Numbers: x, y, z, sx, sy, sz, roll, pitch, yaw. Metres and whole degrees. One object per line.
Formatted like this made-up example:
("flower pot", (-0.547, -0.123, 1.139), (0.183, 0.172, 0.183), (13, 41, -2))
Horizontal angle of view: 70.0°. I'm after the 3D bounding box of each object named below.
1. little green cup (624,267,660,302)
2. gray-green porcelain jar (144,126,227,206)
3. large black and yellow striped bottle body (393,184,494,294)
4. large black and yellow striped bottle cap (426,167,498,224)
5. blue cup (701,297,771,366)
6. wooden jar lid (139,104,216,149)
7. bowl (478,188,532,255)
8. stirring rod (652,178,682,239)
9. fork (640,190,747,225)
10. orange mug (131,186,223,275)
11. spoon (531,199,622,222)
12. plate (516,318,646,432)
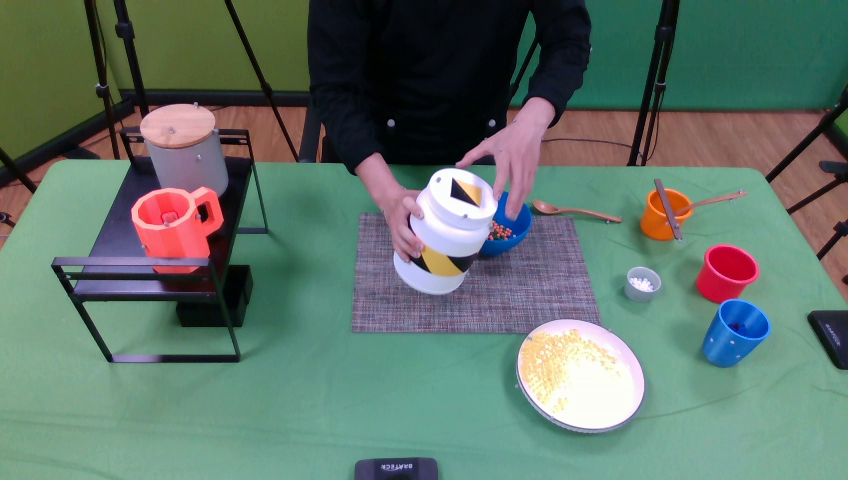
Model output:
("little green cup", (0.406, 0.084, 1.135), (0.061, 0.039, 0.061), (3, 46, -3))
("gray-green porcelain jar", (-0.375, -0.126, 0.967), (0.106, 0.127, 0.105), (2, 46, -2))
("large black and yellow striped bottle body", (0.034, -0.014, 1.000), (0.131, 0.184, 0.130), (14, 43, -13))
("large black and yellow striped bottle cap", (0.060, -0.071, 0.944), (0.115, 0.019, 0.114), (15, 43, -14))
("blue cup", (0.519, 0.162, 1.025), (0.093, 0.101, 0.092), (3, 45, -3))
("wooden jar lid", (-0.372, -0.169, 0.920), (0.108, 0.021, 0.107), (4, 44, -4))
("bowl", (0.130, -0.025, 1.186), (0.151, 0.077, 0.150), (2, 46, -2))
("stirring rod", (0.481, -0.065, 1.204), (0.014, 0.006, 0.175), (2, 46, -1))
("fork", (0.533, -0.065, 1.211), (0.207, 0.019, 0.028), (-22, 28, 38))
("orange mug", (-0.355, -0.023, 0.887), (0.083, 0.101, 0.126), (31, 56, 24))
("spoon", (0.322, -0.060, 1.279), (0.194, 0.022, 0.041), (8, 33, 5))
("plate", (0.253, 0.221, 0.992), (0.209, 0.038, 0.208), (2, 46, -2))
